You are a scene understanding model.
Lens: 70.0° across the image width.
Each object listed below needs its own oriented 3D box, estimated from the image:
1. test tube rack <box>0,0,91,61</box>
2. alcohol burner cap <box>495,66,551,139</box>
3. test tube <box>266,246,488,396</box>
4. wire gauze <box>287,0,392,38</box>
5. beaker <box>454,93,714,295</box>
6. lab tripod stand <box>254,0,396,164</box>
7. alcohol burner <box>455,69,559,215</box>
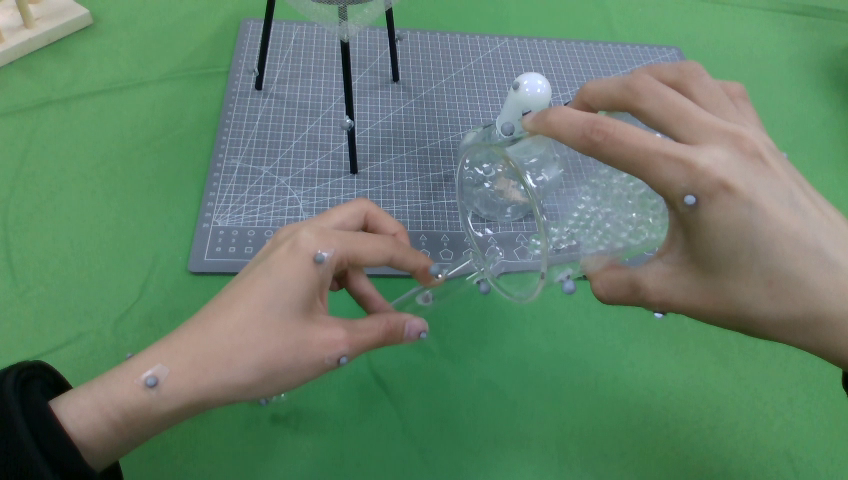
[{"bbox_3d":[-0.397,-0.173,0.466,0.066,0.086,0.241,33,55,16],"label":"test tube rack"},{"bbox_3d":[0.068,-0.094,0.408,0.034,0.048,0.033,4,57,-5],"label":"alcohol burner cap"},{"bbox_3d":[-0.030,0.047,0.327,0.150,0.017,0.017,-34,54,19],"label":"test tube"},{"bbox_3d":[-0.062,-0.194,0.412,0.124,0.011,0.121,34,57,15],"label":"wire gauze"},{"bbox_3d":[0.074,-0.023,0.285,0.100,0.084,0.073,-19,69,-19],"label":"beaker"},{"bbox_3d":[-0.068,-0.154,0.466,0.149,0.132,0.147,5,53,-7],"label":"lab tripod stand"},{"bbox_3d":[0.064,-0.074,0.437,0.078,0.120,0.077,5,51,-6],"label":"alcohol burner"}]
